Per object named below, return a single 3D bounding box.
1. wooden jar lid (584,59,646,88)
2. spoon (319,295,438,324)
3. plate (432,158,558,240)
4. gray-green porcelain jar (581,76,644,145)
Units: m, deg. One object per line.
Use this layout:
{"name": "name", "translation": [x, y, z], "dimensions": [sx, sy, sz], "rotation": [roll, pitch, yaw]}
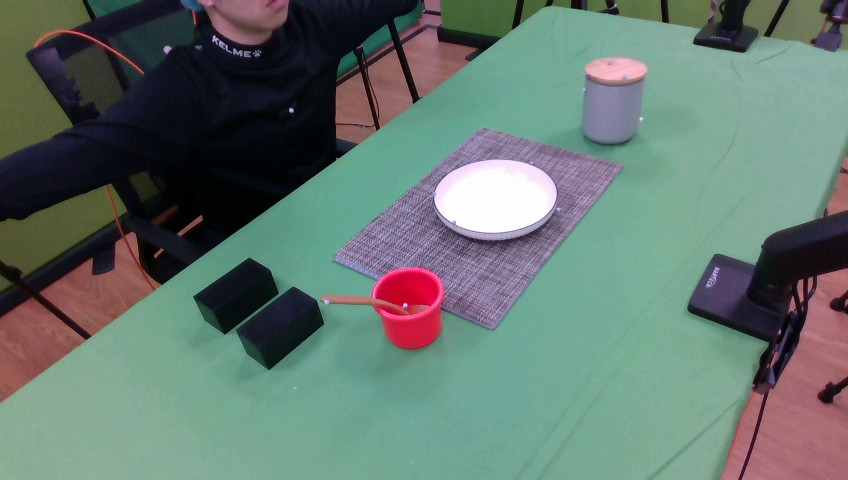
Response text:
{"name": "wooden jar lid", "translation": [0.343, -0.298, 1.089], "dimensions": [0.108, 0.021, 0.108], "rotation": [-4, 38, 3]}
{"name": "spoon", "translation": [-0.055, 0.086, 0.784], "dimensions": [0.195, 0.021, 0.041], "rotation": [19, 19, -44]}
{"name": "plate", "translation": [0.118, -0.066, 1.013], "dimensions": [0.207, 0.039, 0.206], "rotation": [-4, 41, 4]}
{"name": "gray-green porcelain jar", "translation": [0.350, -0.251, 1.131], "dimensions": [0.106, 0.127, 0.105], "rotation": [-4, 41, 4]}
